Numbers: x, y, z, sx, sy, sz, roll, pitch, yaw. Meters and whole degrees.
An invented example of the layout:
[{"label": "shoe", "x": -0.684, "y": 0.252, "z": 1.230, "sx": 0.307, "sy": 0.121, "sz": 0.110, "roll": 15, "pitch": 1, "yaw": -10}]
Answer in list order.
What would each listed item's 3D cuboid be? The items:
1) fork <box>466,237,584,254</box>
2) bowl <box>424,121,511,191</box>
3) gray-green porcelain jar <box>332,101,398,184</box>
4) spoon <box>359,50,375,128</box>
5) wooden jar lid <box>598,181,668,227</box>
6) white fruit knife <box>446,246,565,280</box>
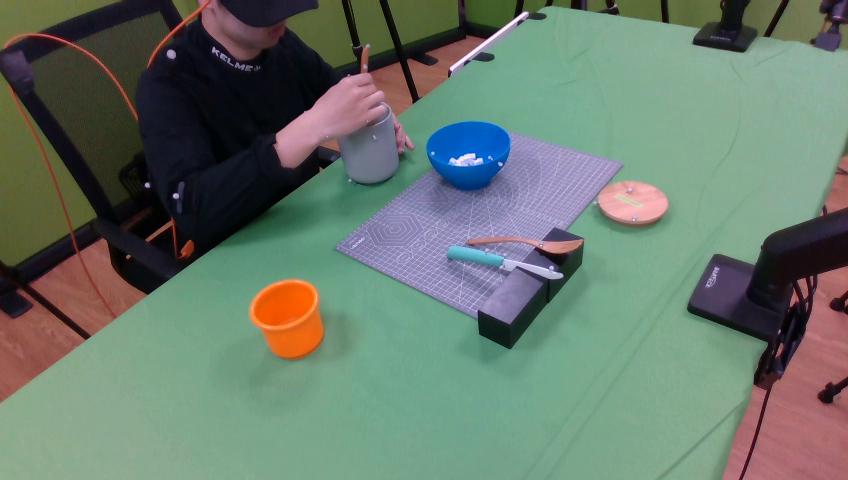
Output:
[{"label": "fork", "x": 0.142, "y": 0.005, "z": 0.894, "sx": 0.205, "sy": 0.019, "sz": 0.028, "roll": 4, "pitch": 43, "yaw": 41}, {"label": "bowl", "x": 0.081, "y": -0.141, "z": 1.074, "sx": 0.151, "sy": 0.077, "sz": 0.150, "roll": -4, "pitch": 40, "yaw": 4}, {"label": "gray-green porcelain jar", "x": -0.105, "y": -0.175, "z": 1.109, "sx": 0.106, "sy": 0.127, "sz": 0.105, "roll": -4, "pitch": 40, "yaw": 4}, {"label": "spoon", "x": -0.102, "y": -0.240, "z": 1.045, "sx": 0.021, "sy": 0.194, "sz": 0.042, "roll": 23, "pitch": 51, "yaw": 23}, {"label": "wooden jar lid", "x": 0.340, "y": -0.058, "z": 0.989, "sx": 0.108, "sy": 0.021, "sz": 0.108, "roll": -5, "pitch": 41, "yaw": 5}, {"label": "white fruit knife", "x": 0.111, "y": 0.033, "z": 0.868, "sx": 0.205, "sy": 0.027, "sz": 0.016, "roll": 11, "pitch": 44, "yaw": 40}]
